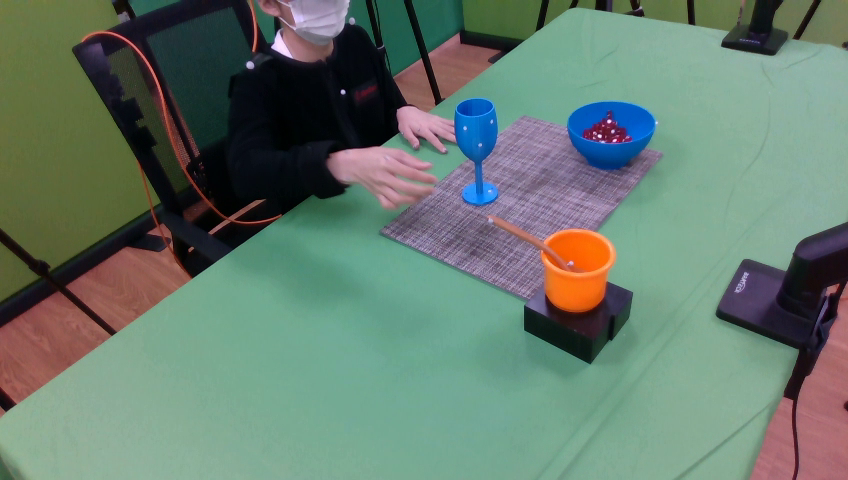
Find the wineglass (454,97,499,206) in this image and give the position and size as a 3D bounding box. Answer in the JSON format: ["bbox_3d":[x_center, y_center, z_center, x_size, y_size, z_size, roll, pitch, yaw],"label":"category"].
[{"bbox_3d":[0.090,-0.145,1.009,0.074,0.173,0.073,-5,40,4],"label":"wineglass"}]

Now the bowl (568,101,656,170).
[{"bbox_3d":[0.332,-0.179,1.084,0.151,0.077,0.150,-4,40,4],"label":"bowl"}]

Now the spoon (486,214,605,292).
[{"bbox_3d":[0.155,0.015,0.758,0.021,0.195,0.041,-44,25,27],"label":"spoon"}]
